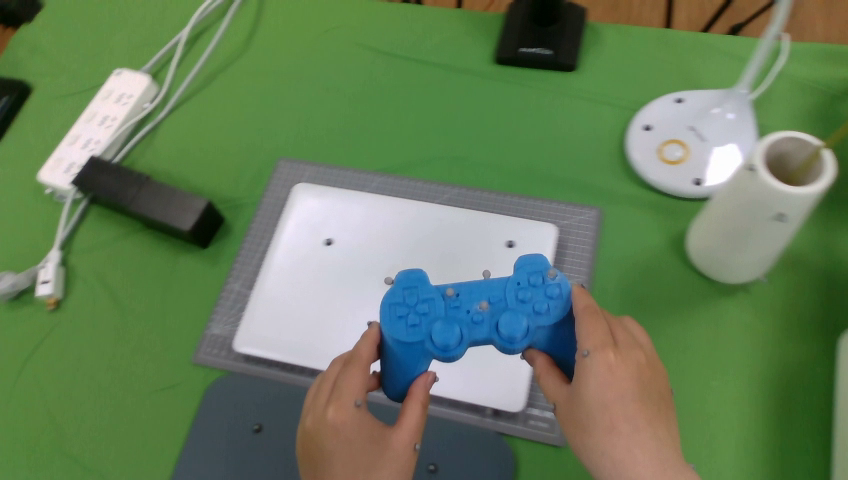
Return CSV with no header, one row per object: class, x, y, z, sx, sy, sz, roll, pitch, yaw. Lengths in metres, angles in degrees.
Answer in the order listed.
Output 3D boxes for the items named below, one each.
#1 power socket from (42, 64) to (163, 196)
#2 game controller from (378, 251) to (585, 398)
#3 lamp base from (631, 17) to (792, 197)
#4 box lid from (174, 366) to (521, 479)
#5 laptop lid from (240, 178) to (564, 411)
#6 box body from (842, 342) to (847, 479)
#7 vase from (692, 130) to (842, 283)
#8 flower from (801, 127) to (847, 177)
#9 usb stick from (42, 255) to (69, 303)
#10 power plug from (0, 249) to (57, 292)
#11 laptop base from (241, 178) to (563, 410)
power socket,-0.465,-0.166,0.884,0.072,0.033,0.225,18,68,14
game controller,0.040,0.060,0.454,0.155,0.052,0.096,-6,68,1
lamp base,0.349,-0.168,0.712,0.179,0.182,0.159,-39,67,-15
box lid,-0.100,0.292,0.641,0.370,0.015,0.261,10,67,11
laptop lid,-0.026,0.052,0.727,0.355,0.013,0.240,12,69,12
box body,0.519,0.239,0.510,0.253,0.162,0.362,12,67,13
vase,0.353,-0.030,0.636,0.098,0.202,0.097,-3,63,7
flower,0.361,-0.071,0.563,0.038,0.364,0.043,5,54,-9
usb stick,-0.477,0.051,0.784,0.021,0.027,0.059,-7,71,-5
power plug,-0.526,0.041,0.801,0.052,0.035,0.072,4,25,33
laptop base,-0.024,0.055,0.738,0.353,0.023,0.234,11,70,11
